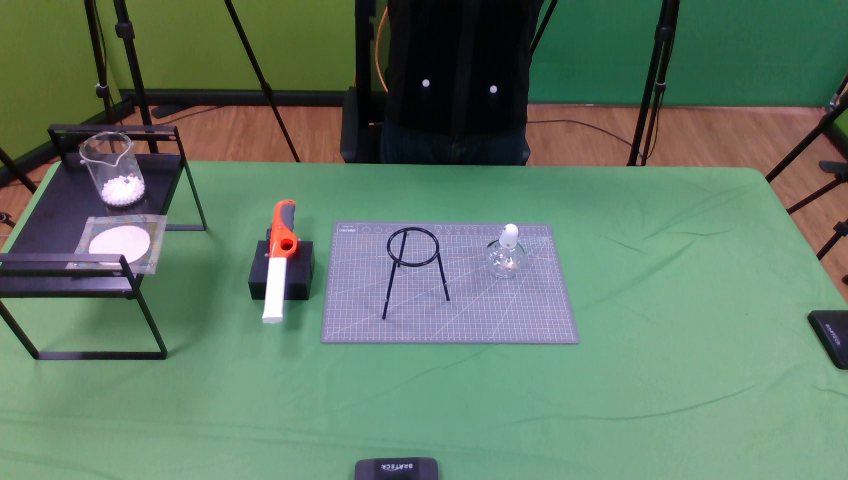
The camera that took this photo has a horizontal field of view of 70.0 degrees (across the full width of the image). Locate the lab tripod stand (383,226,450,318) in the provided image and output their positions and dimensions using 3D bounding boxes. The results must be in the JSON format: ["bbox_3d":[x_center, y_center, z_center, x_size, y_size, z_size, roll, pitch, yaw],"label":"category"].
[{"bbox_3d":[-0.023,0.055,1.062,0.148,0.132,0.147,2,48,-2],"label":"lab tripod stand"}]

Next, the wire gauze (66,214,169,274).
[{"bbox_3d":[-0.460,0.004,0.919,0.125,0.011,0.120,0,44,-7],"label":"wire gauze"}]

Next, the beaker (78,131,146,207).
[{"bbox_3d":[-0.488,-0.108,0.961,0.074,0.101,0.083,-25,54,-25],"label":"beaker"}]

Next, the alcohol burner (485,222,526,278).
[{"bbox_3d":[0.154,0.014,1.129,0.078,0.119,0.077,3,44,-2],"label":"alcohol burner"}]

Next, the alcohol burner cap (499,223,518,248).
[{"bbox_3d":[0.156,-0.010,1.102,0.034,0.048,0.033,1,53,-1],"label":"alcohol burner cap"}]

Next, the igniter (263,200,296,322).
[{"bbox_3d":[-0.260,0.027,1.083,0.057,0.025,0.274,0,49,-7],"label":"igniter"}]
